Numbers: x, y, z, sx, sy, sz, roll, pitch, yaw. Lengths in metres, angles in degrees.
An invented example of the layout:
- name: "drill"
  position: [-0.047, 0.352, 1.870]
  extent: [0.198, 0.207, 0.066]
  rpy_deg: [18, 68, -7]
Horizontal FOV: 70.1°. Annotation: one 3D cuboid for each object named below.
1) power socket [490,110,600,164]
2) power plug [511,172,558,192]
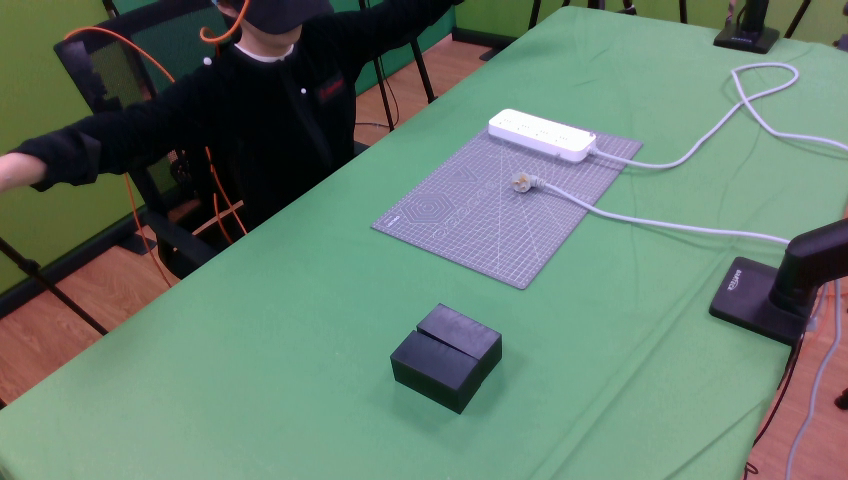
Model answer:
- name: "power socket"
  position: [0.227, -0.201, 1.166]
  extent: [0.225, 0.033, 0.072]
  rpy_deg: [26, 52, 33]
- name: "power plug"
  position: [0.188, -0.101, 1.044]
  extent: [0.072, 0.035, 0.053]
  rpy_deg: [3, 22, 41]
